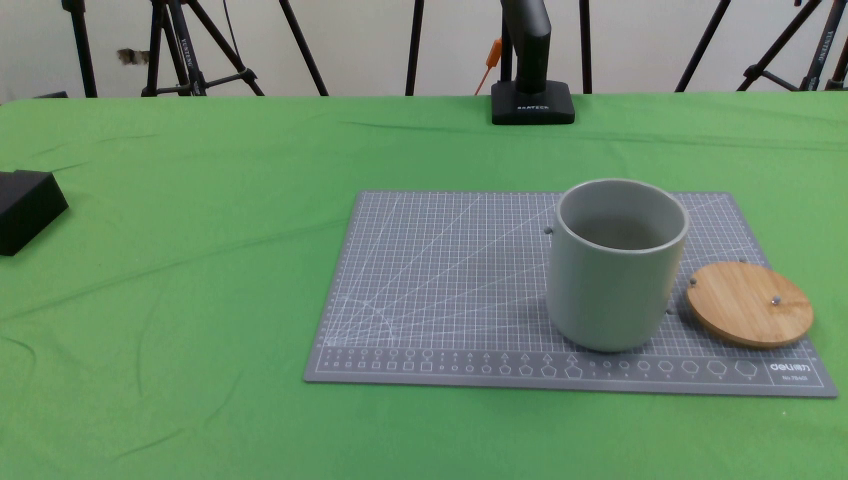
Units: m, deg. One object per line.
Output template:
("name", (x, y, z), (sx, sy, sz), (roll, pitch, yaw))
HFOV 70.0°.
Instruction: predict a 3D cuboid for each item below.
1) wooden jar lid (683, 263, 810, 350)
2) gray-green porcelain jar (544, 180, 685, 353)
("wooden jar lid", (0.298, 0.063, 0.567), (0.108, 0.021, 0.107), (-2, 37, 2))
("gray-green porcelain jar", (0.161, 0.028, 0.533), (0.106, 0.127, 0.105), (-2, 39, 2))
